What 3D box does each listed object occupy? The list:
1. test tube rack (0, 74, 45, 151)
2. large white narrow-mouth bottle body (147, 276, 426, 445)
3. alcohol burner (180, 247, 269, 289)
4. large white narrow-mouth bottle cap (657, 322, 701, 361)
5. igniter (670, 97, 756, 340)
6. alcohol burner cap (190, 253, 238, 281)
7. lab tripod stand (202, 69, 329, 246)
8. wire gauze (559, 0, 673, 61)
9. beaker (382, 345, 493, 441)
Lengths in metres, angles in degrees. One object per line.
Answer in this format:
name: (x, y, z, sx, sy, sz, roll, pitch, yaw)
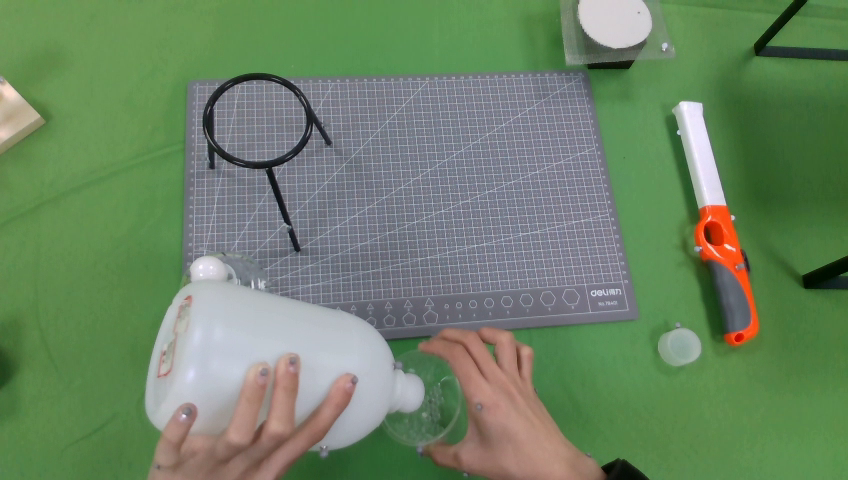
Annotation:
test tube rack: (-0.494, -0.081, 0.557, 0.066, 0.085, 0.242, 43, 72, 9)
large white narrow-mouth bottle body: (-0.084, 0.095, 0.437, 0.196, 0.101, 0.101, 19, 67, -32)
alcohol burner: (-0.178, 0.038, 0.533, 0.078, 0.119, 0.077, 3, 69, -7)
large white narrow-mouth bottle cap: (0.256, 0.103, 0.609, 0.038, 0.024, 0.037, 2, 71, -4)
igniter: (0.311, -0.030, 0.654, 0.057, 0.025, 0.274, 0, 72, -17)
alcohol burner cap: (-0.175, 0.027, 0.499, 0.034, 0.048, 0.033, 1, 76, -5)
lab tripod stand: (-0.143, -0.081, 0.566, 0.149, 0.132, 0.147, 2, 72, -7)
wire gauze: (0.209, -0.255, 0.679, 0.122, 0.011, 0.124, -2, 72, -6)
beaker: (0.012, 0.135, 0.524, 0.083, 0.101, 0.073, 5, 75, 26)
